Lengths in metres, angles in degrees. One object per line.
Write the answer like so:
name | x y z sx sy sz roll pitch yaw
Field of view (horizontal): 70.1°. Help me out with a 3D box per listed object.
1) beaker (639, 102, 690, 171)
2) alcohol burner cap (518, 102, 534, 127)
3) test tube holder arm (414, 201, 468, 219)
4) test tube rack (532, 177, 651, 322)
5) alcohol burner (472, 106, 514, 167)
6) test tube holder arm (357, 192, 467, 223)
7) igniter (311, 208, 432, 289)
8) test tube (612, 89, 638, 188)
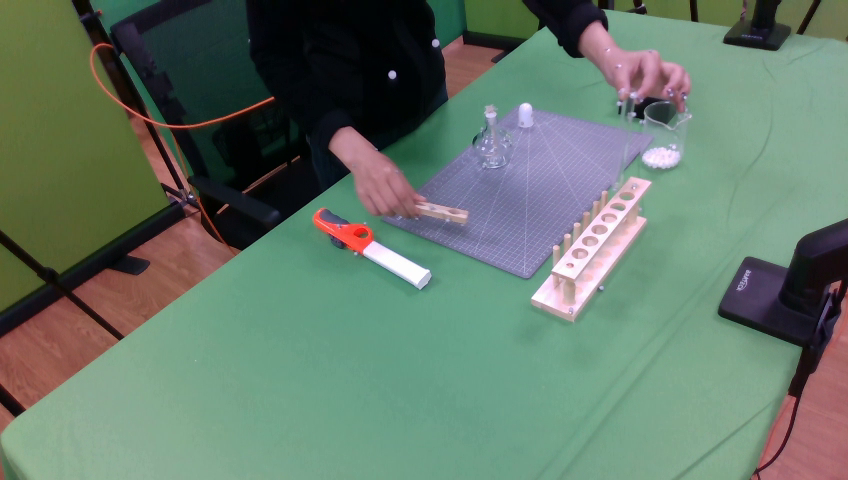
beaker | 0.417 -0.177 1.053 0.074 0.101 0.083 -4 41 7
alcohol burner cap | 0.205 -0.254 1.223 0.034 0.048 0.033 -6 41 6
test tube holder arm | 0.024 -0.046 0.941 0.087 0.015 0.010 12 42 11
test tube rack | 0.248 0.003 0.883 0.066 0.085 0.243 22 49 32
alcohol burner | 0.126 -0.194 1.111 0.078 0.119 0.077 -5 42 5
test tube holder arm | -0.021 -0.051 0.944 0.178 0.015 0.013 11 42 10
igniter | -0.096 0.008 0.985 0.274 0.025 0.057 28 62 36
test tube | 0.280 -0.139 0.846 0.017 0.151 0.017 -2 37 2
